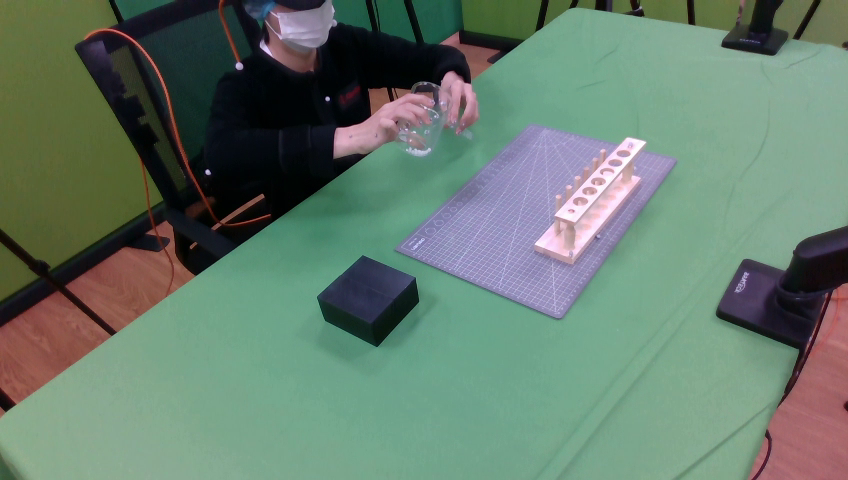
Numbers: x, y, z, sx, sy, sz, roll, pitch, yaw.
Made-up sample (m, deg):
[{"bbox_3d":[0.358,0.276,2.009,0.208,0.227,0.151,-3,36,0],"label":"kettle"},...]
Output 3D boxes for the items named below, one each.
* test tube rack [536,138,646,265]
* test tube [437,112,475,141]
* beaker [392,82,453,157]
[{"bbox_3d":[0.268,-0.071,0.964,0.066,0.085,0.243,23,49,32],"label":"test tube rack"},{"bbox_3d":[0.060,-0.204,1.096,0.017,0.017,0.151,16,1,26],"label":"test tube"},{"bbox_3d":[-0.003,-0.191,0.983,0.073,0.084,0.100,8,64,31],"label":"beaker"}]
